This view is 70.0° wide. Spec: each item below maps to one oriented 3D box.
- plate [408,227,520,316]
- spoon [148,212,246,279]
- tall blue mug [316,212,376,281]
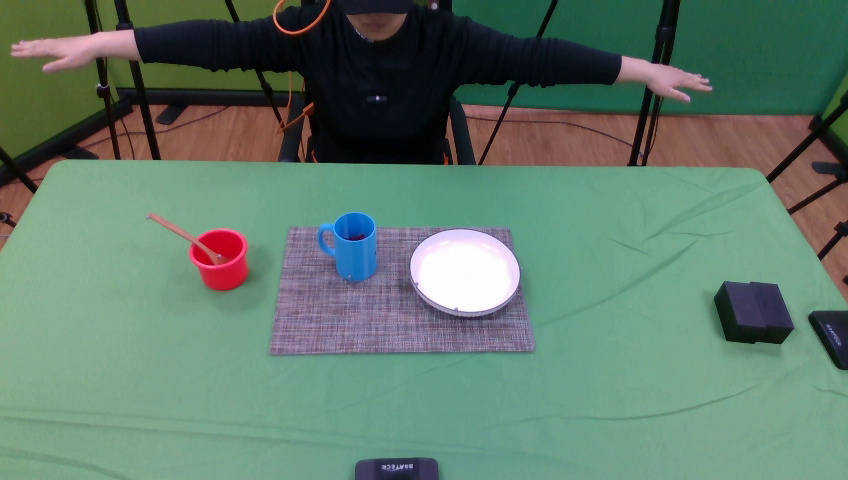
[{"bbox_3d":[0.073,0.062,1.128,0.208,0.039,0.206,2,46,-2],"label":"plate"},{"bbox_3d":[-0.400,0.009,1.076,0.194,0.021,0.041,42,37,-25],"label":"spoon"},{"bbox_3d":[-0.142,0.014,1.109,0.107,0.108,0.077,-5,47,-8],"label":"tall blue mug"}]
